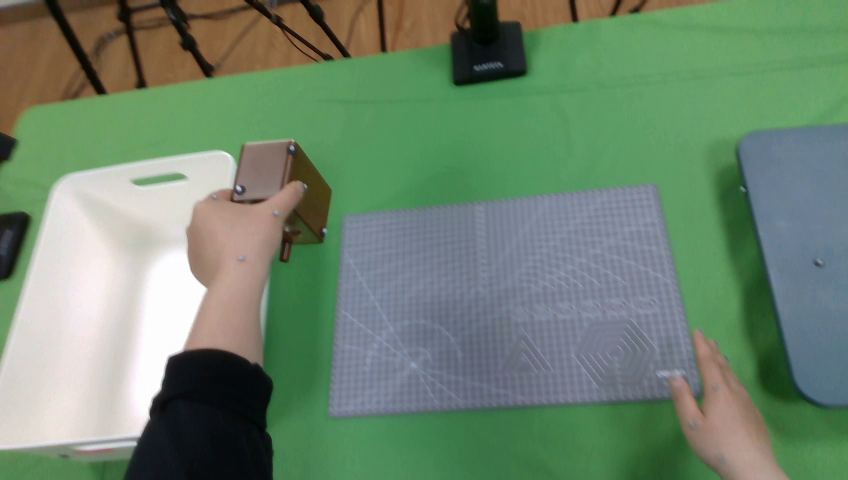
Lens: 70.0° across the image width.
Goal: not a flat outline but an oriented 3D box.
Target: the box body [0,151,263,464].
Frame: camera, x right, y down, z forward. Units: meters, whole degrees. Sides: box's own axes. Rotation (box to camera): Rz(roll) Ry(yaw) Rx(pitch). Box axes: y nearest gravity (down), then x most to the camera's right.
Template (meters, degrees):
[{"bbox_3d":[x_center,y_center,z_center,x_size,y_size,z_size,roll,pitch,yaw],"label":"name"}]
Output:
[{"bbox_3d":[-0.356,0.090,0.780,0.254,0.162,0.360,-8,62,6],"label":"box body"}]

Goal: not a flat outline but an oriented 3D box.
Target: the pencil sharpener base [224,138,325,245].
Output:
[{"bbox_3d":[-0.153,-0.045,0.633,0.061,0.108,0.076,-3,65,12],"label":"pencil sharpener base"}]

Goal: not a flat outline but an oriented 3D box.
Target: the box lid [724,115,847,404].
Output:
[{"bbox_3d":[0.521,0.002,0.706,0.263,0.015,0.368,-4,62,8],"label":"box lid"}]

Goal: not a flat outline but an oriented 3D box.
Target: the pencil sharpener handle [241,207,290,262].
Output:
[{"bbox_3d":[-0.156,-0.004,0.601,0.036,0.068,0.030,-7,64,20],"label":"pencil sharpener handle"}]
